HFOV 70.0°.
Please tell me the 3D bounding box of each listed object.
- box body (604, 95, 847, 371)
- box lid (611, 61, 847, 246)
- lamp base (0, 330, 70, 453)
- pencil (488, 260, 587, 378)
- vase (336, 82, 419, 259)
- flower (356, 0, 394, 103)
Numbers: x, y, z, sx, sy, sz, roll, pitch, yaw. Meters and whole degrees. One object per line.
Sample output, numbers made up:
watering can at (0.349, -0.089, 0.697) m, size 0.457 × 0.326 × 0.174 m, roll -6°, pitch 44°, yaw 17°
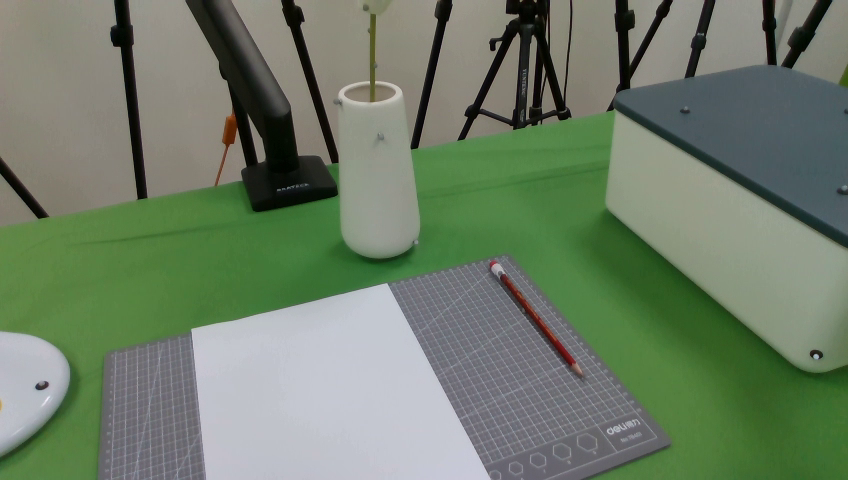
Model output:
box body at (0.404, -0.044, 0.681) m, size 0.255 × 0.162 × 0.360 m, roll -13°, pitch 36°, yaw -17°
box lid at (0.402, -0.110, 0.632) m, size 0.264 × 0.015 × 0.367 m, roll -16°, pitch 36°, yaw -15°
lamp base at (-0.418, 0.076, 0.505) m, size 0.178 × 0.182 × 0.160 m, roll 21°, pitch 40°, yaw 32°
pencil at (0.115, 0.078, 0.639) m, size 0.012 × 0.012 × 0.192 m, roll -14°, pitch 38°, yaw -18°
vase at (-0.058, -0.077, 0.705) m, size 0.098 × 0.201 × 0.097 m, roll -2°, pitch 34°, yaw 1°
flower at (-0.057, -0.132, 0.640) m, size 0.044 × 0.364 × 0.038 m, roll 22°, pitch 53°, yaw 9°
